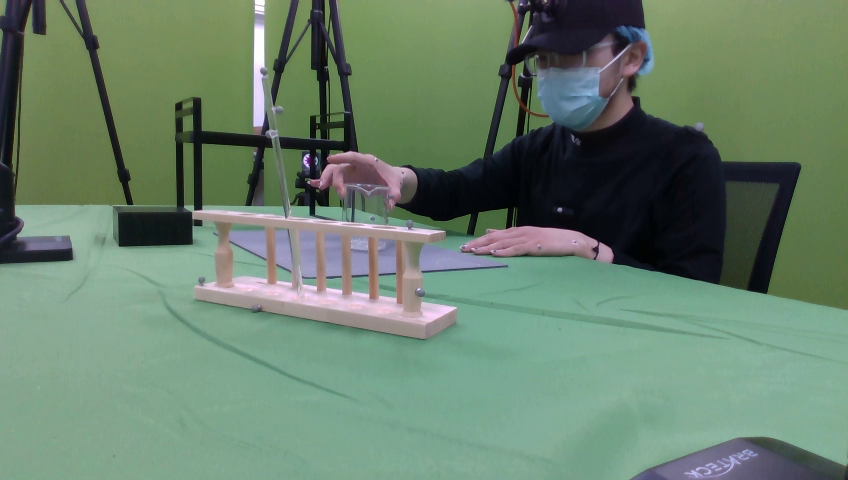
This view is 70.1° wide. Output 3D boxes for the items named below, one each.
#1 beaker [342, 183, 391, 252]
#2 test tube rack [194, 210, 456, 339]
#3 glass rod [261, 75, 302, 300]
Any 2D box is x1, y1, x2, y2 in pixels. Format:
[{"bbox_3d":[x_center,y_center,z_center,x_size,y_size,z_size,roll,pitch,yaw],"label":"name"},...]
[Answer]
[{"bbox_3d":[-0.089,-0.035,0.921,0.074,0.100,0.084,3,8,-9],"label":"beaker"},{"bbox_3d":[-0.093,0.023,0.546,0.241,0.085,0.067,6,8,25],"label":"test tube rack"},{"bbox_3d":[-0.124,-0.043,0.531,0.008,0.199,0.008,-7,8,1],"label":"glass rod"}]
